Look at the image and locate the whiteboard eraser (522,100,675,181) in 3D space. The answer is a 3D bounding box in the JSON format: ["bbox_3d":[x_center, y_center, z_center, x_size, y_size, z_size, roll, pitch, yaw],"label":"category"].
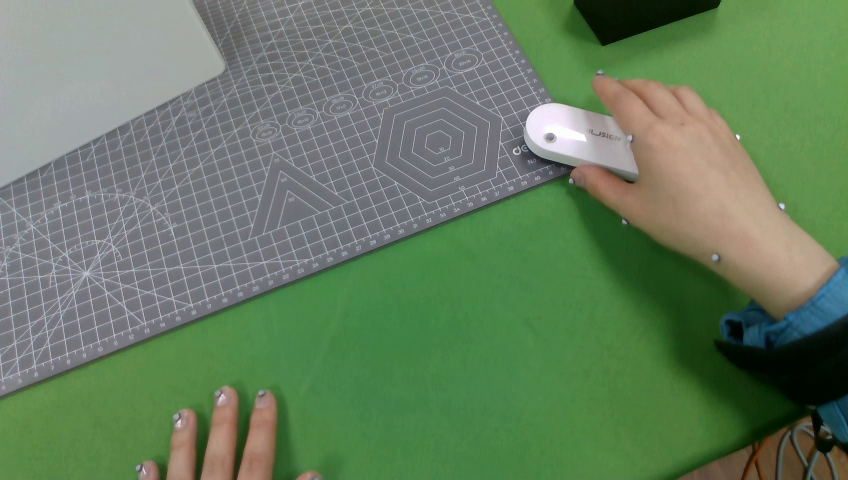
[{"bbox_3d":[0.118,-0.068,0.411,0.101,0.019,0.041,16,66,8],"label":"whiteboard eraser"}]

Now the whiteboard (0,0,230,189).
[{"bbox_3d":[-0.305,-0.212,0.375,0.217,0.309,0.142,-31,47,-10],"label":"whiteboard"}]
